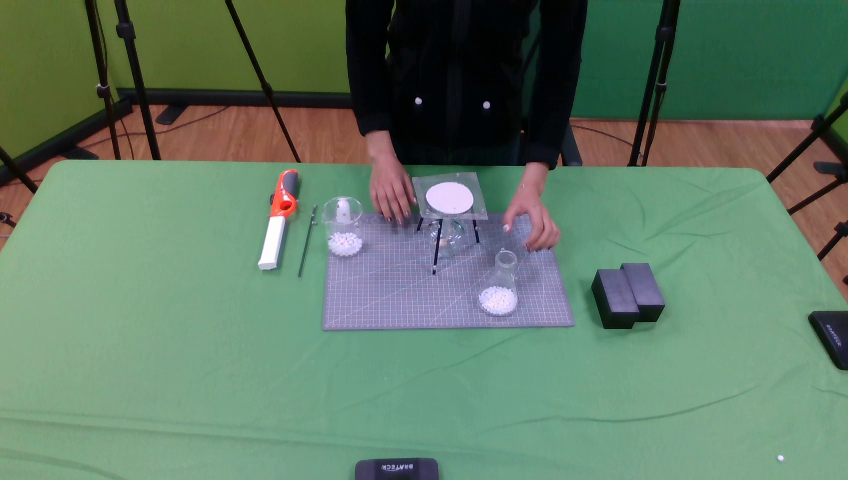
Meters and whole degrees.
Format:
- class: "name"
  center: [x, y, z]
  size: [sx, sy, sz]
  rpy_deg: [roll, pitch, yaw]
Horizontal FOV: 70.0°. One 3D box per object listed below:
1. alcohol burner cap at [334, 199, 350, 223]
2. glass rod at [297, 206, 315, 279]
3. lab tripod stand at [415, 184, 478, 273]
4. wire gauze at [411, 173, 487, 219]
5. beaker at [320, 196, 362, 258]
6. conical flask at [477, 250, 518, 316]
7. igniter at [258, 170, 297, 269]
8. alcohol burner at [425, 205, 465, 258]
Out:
- class: "alcohol burner cap"
  center: [-0.167, -0.061, 1.227]
  size: [0.034, 0.048, 0.033]
  rpy_deg: [2, 46, -2]
- class: "glass rod"
  center: [-0.232, 0.000, 1.191]
  size: [0.008, 0.008, 0.198]
  rpy_deg: [3, 46, -1]
- class: "lab tripod stand"
  center: [0.041, -0.031, 1.152]
  size: [0.148, 0.132, 0.147]
  rpy_deg: [3, 44, -3]
- class: "wire gauze"
  center: [0.044, -0.080, 1.106]
  size: [0.125, 0.011, 0.120]
  rpy_deg: [-3, 46, -8]
- class: "beaker"
  center: [-0.156, -0.021, 1.150]
  size: [0.084, 0.101, 0.073]
  rpy_deg: [-30, 55, -28]
- class: "conical flask"
  center: [0.137, 0.072, 1.067]
  size: [0.075, 0.122, 0.075]
  rpy_deg: [2, 46, -2]
- class: "igniter"
  center: [-0.294, -0.050, 1.220]
  size: [0.057, 0.025, 0.274]
  rpy_deg: [-5, 45, 4]
- class: "alcohol burner"
  center: [0.041, -0.023, 1.158]
  size: [0.078, 0.119, 0.077]
  rpy_deg: [3, 47, -3]
